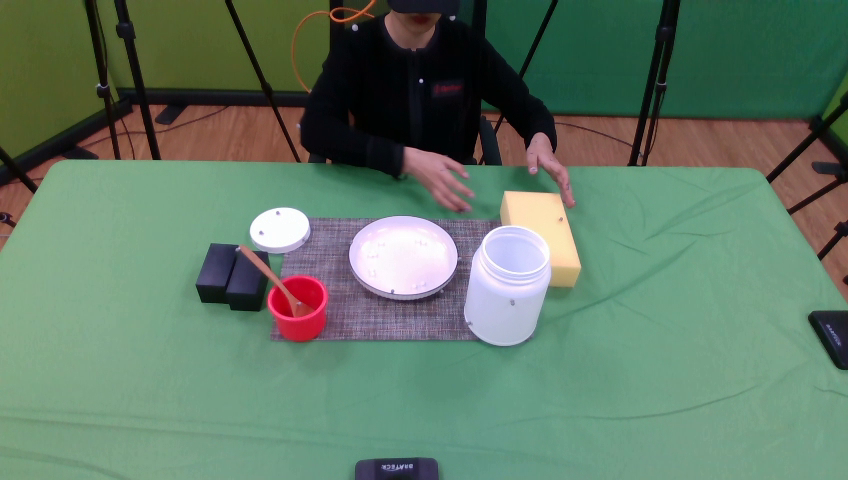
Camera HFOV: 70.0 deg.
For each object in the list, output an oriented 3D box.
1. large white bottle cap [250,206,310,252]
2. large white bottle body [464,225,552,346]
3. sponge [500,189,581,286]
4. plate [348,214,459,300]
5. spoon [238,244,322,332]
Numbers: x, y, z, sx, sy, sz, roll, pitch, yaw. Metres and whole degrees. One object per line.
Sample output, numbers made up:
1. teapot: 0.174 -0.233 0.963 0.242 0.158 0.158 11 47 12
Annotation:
1. large white bottle cap: -0.284 -0.023 1.197 0.115 0.018 0.114 1 46 0
2. large white bottle body: 0.141 0.076 1.017 0.131 0.185 0.130 2 46 -2
3. sponge: 0.224 -0.007 1.192 0.118 0.061 0.205 1 47 -6
4. plate: -0.040 0.034 1.146 0.209 0.038 0.208 2 47 -2
5. spoon: -0.241 0.079 1.015 0.194 0.021 0.041 53 52 -15
